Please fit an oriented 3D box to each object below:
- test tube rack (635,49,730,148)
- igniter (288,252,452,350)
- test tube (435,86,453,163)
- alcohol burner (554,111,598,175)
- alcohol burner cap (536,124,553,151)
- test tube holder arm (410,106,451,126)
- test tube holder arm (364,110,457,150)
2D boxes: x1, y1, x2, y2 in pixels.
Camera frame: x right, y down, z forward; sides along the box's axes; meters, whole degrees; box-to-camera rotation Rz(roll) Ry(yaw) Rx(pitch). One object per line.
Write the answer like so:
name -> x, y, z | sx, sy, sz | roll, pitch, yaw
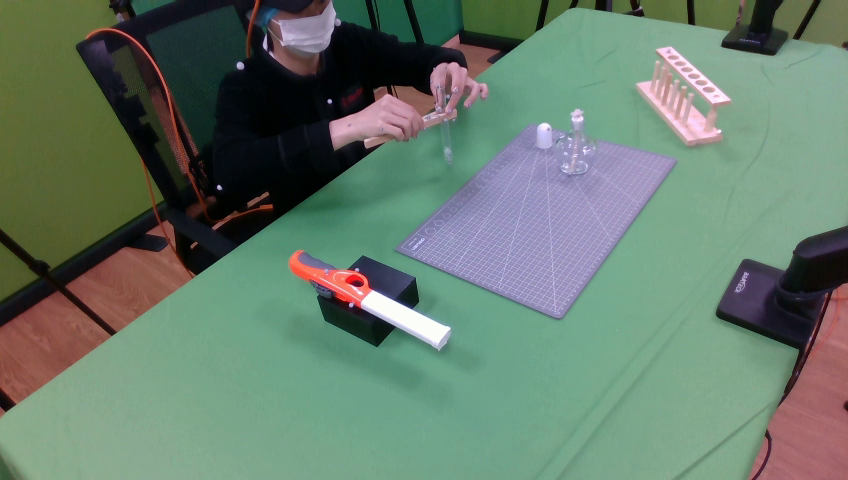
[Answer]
test tube rack -> 0.497, -0.283, 1.185 | 0.067, 0.085, 0.240 | -10, 40, -2
igniter -> -0.084, 0.077, 0.821 | 0.274, 0.025, 0.057 | 23, 48, 27
test tube -> 0.036, -0.199, 1.058 | 0.017, 0.151, 0.017 | -6, 40, 5
alcohol burner -> 0.270, -0.175, 1.066 | 0.078, 0.119, 0.077 | -4, 42, 4
alcohol burner cap -> 0.232, -0.199, 1.158 | 0.034, 0.048, 0.033 | -5, 41, 4
test tube holder arm -> 0.012, -0.208, 1.038 | 0.088, 0.015, 0.010 | -33, 45, -31
test tube holder arm -> -0.021, -0.186, 1.015 | 0.179, 0.015, 0.013 | -25, 41, -23
